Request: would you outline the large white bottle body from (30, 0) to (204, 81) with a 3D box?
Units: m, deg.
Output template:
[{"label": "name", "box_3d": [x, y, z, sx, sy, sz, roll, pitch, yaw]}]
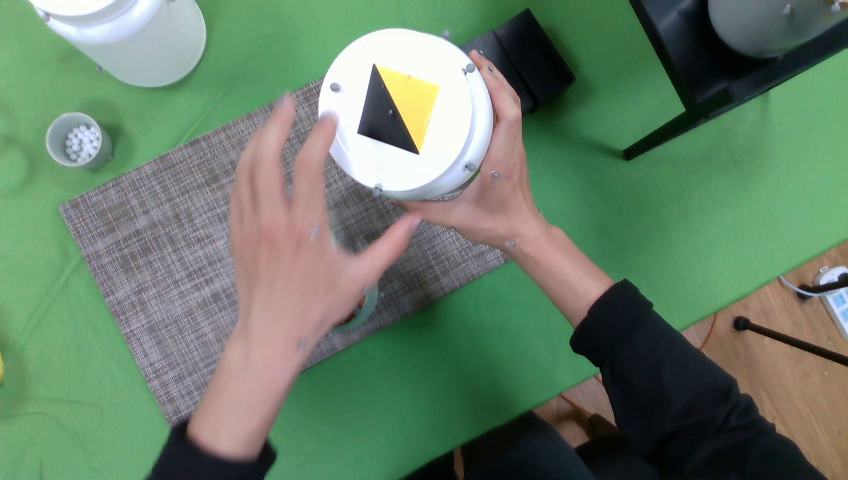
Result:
[{"label": "large white bottle body", "box_3d": [-0.322, -0.256, 0.631, 0.131, 0.184, 0.130, 0, 86, -3]}]

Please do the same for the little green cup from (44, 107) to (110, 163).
[{"label": "little green cup", "box_3d": [-0.394, -0.117, 0.693, 0.061, 0.038, 0.061, 0, 87, -4]}]

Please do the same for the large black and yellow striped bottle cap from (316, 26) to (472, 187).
[{"label": "large black and yellow striped bottle cap", "box_3d": [-0.023, -0.096, 0.440, 0.115, 0.019, 0.115, 1, 98, 10]}]

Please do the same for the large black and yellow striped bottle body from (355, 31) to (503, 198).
[{"label": "large black and yellow striped bottle body", "box_3d": [-0.004, -0.103, 0.522, 0.130, 0.184, 0.131, 1, 97, 12]}]

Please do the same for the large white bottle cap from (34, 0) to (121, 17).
[{"label": "large white bottle cap", "box_3d": [-0.317, -0.261, 0.548, 0.115, 0.018, 0.114, 0, 87, -3]}]

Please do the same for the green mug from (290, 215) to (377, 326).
[{"label": "green mug", "box_3d": [-0.103, 0.034, 0.666, 0.092, 0.105, 0.125, -11, 87, -3]}]

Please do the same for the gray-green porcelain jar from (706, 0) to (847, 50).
[{"label": "gray-green porcelain jar", "box_3d": [0.316, -0.231, 0.521, 0.106, 0.126, 0.105, 0, 86, -3]}]
